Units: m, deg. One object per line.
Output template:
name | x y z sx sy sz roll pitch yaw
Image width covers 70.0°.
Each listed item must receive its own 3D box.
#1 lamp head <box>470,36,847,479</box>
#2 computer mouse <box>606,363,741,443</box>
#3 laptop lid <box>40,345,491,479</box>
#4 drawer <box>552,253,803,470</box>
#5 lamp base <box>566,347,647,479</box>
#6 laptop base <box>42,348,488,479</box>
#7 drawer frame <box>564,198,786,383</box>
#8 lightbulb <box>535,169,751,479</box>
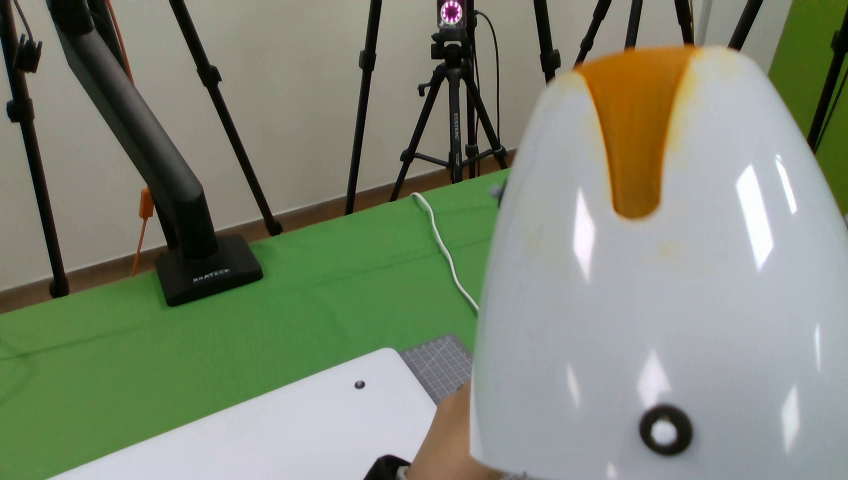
lamp head | 0.070 0.006 0.184 0.112 0.113 0.122 1 75 6
computer mouse | 0.228 0.147 0.555 0.117 0.041 0.062 8 31 8
laptop lid | -0.134 0.214 0.486 0.357 0.013 0.239 -17 38 -22
drawer | 0.240 0.104 0.599 0.194 0.074 0.210 7 33 17
lamp base | 0.135 0.174 0.397 0.161 0.181 0.177 -3 30 -2
laptop base | -0.134 0.223 0.494 0.355 0.023 0.233 -18 39 -23
drawer frame | 0.276 0.043 0.685 0.201 0.083 0.212 8 34 17
lightbulb | 0.064 0.031 0.182 0.059 0.107 0.060 4 -11 1
